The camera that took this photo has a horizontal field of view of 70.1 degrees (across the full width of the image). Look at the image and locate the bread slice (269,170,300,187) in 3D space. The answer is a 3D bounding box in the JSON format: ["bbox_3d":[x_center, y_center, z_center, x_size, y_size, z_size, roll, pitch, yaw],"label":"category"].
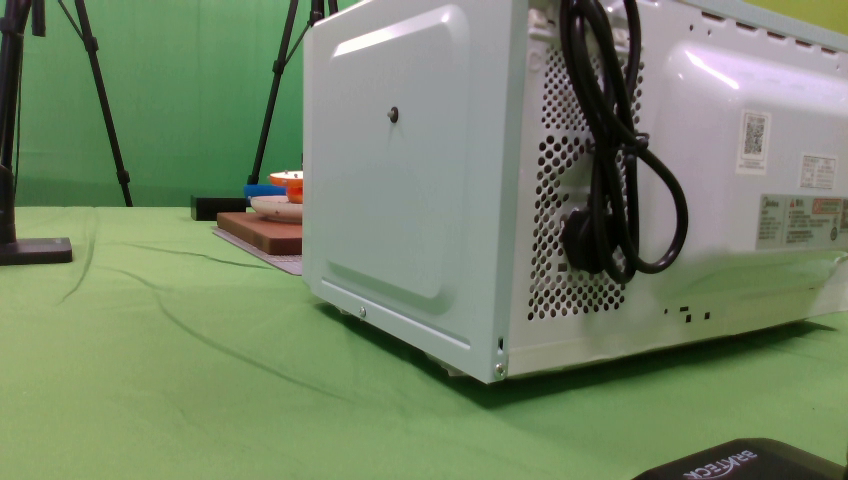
[{"bbox_3d":[-0.213,-0.116,1.112,0.106,0.018,0.135,9,16,38],"label":"bread slice"}]

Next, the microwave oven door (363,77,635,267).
[{"bbox_3d":[0.091,-0.098,0.823,0.355,0.243,0.039,4,8,15],"label":"microwave oven door"}]

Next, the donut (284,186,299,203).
[{"bbox_3d":[-0.210,-0.087,1.124,0.099,0.048,0.099,3,-1,0],"label":"donut"}]

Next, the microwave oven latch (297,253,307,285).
[{"bbox_3d":[-0.081,0.027,0.582,0.079,0.029,0.030,-1,7,-32],"label":"microwave oven latch"}]

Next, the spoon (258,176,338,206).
[{"bbox_3d":[-0.279,-0.112,1.356,0.194,0.021,0.041,-27,20,-27],"label":"spoon"}]

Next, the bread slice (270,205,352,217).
[{"bbox_3d":[-0.213,-0.054,1.116,0.104,0.019,0.132,6,5,41],"label":"bread slice"}]

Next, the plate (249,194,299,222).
[{"bbox_3d":[-0.217,-0.058,1.122,0.208,0.039,0.207,3,7,0],"label":"plate"}]

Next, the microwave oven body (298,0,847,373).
[{"bbox_3d":[0.151,-0.055,0.542,0.444,0.260,0.324,-2,7,-33],"label":"microwave oven body"}]

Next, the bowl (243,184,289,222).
[{"bbox_3d":[-0.321,-0.081,1.333,0.151,0.077,0.151,3,7,0],"label":"bowl"}]
